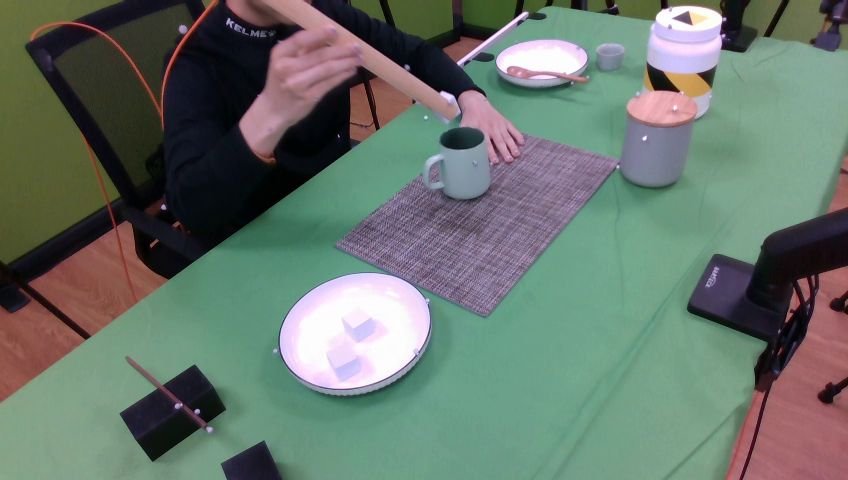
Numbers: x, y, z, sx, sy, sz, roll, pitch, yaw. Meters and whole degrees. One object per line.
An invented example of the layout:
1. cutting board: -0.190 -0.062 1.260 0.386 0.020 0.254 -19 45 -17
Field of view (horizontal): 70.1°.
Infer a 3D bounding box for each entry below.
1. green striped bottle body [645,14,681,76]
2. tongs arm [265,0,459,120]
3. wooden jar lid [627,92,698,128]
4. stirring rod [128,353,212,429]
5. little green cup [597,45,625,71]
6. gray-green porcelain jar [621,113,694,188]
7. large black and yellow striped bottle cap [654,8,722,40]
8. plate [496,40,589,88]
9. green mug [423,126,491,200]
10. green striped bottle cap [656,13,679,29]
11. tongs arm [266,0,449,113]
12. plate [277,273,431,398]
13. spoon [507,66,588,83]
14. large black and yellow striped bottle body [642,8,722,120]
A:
1. green striped bottle body: 0.520 -0.424 1.312 0.063 0.120 0.063 -4 41 4
2. tongs arm: -0.090 -0.255 0.807 0.026 0.388 0.050 -57 47 11
3. wooden jar lid: 0.384 -0.207 0.980 0.108 0.021 0.108 -6 39 5
4. stirring rod: -0.310 0.180 0.732 0.175 0.014 0.006 25 54 32
5. little green cup: 0.422 -0.413 1.375 0.061 0.039 0.061 -3 41 3
6. gray-green porcelain jar: 0.390 -0.160 1.020 0.106 0.127 0.105 -4 41 4
7. large black and yellow striped bottle cap: 0.483 -0.397 1.108 0.115 0.019 0.114 -3 41 3
8. plate: 0.269 -0.398 1.381 0.209 0.038 0.208 -4 41 4
9. green mug: 0.055 -0.125 1.039 0.126 0.105 0.091 -25 44 -19
10. green striped bottle cap: 0.515 -0.463 1.278 0.044 0.020 0.044 -6 42 6
11. tongs arm: -0.101 -0.267 0.824 0.028 0.391 0.028 -54 43 14
12. plate: -0.091 0.129 0.821 0.207 0.039 0.206 -4 40 4
13. spoon: 0.265 -0.357 1.311 0.192 0.022 0.042 18 47 38
14. large black and yellow striped bottle body: 0.493 -0.334 1.161 0.131 0.185 0.130 -4 41 4
